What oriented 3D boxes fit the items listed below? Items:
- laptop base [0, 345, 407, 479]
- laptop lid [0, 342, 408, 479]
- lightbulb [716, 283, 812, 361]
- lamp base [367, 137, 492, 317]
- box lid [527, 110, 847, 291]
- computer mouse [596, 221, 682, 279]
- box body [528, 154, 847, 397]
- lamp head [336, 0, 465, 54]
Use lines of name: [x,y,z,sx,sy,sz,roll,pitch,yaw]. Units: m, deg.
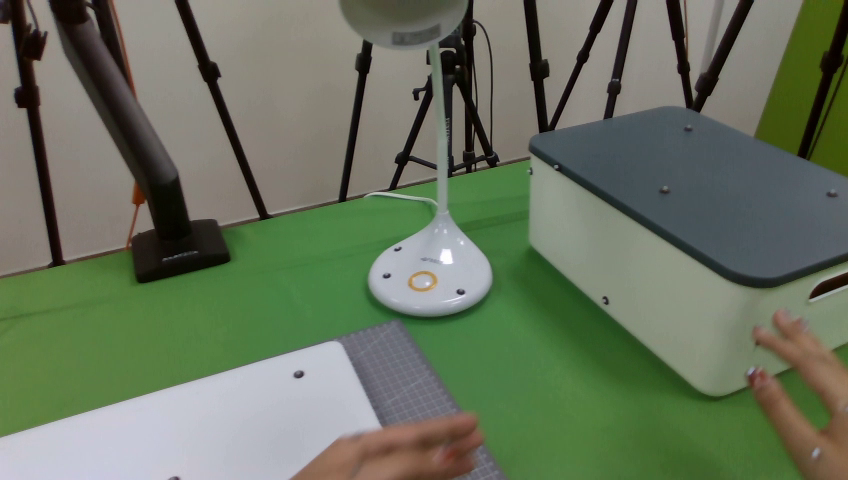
laptop base: [-0.205,0.213,0.514,0.355,0.023,0.233,-14,37,-21]
laptop lid: [-0.204,0.204,0.506,0.358,0.013,0.239,-13,35,-19]
lightbulb: [0.374,0.092,0.664,0.059,0.060,0.107,-28,60,-36]
lamp base: [0.007,-0.025,0.749,0.160,0.181,0.178,4,29,8]
box lid: [0.314,-0.070,0.689,0.264,0.015,0.367,-14,34,-20]
computer mouse: [0.287,0.009,0.812,0.063,0.041,0.116,-12,36,-22]
box body: [0.316,-0.006,0.726,0.255,0.161,0.360,-14,33,-21]
lamp head: [-0.019,-0.247,0.545,0.112,0.113,0.122,0,56,2]
